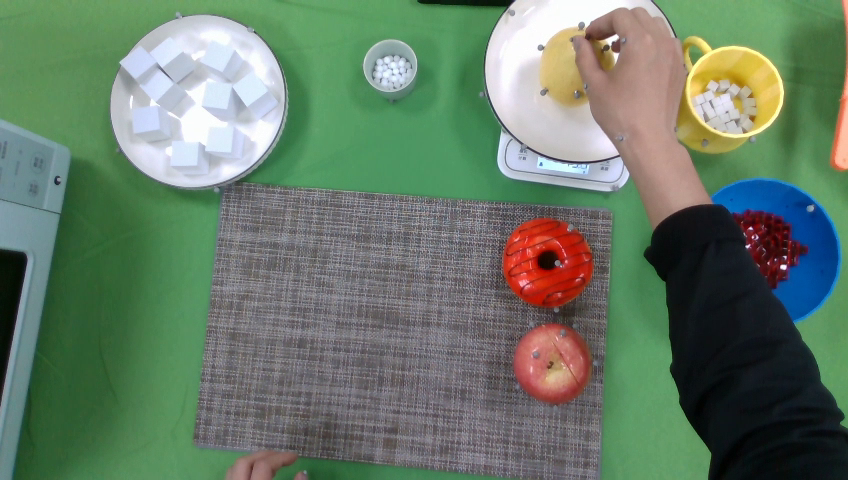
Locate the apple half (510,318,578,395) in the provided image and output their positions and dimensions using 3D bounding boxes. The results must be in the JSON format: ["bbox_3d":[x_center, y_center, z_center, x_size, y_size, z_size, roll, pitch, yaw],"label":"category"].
[{"bbox_3d":[0.119,0.127,0.635,0.053,0.075,0.080,-32,86,4],"label":"apple half"}]

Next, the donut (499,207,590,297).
[{"bbox_3d":[0.130,0.013,0.660,0.099,0.048,0.099,-1,85,6],"label":"donut"}]

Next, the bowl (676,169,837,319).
[{"bbox_3d":[0.332,0.007,0.635,0.151,0.077,0.151,0,86,4],"label":"bowl"}]

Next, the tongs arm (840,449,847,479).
[{"bbox_3d":[0.425,0.282,0.631,0.028,0.028,0.387,19,87,-3],"label":"tongs arm"}]

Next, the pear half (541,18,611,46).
[{"bbox_3d":[0.155,-0.210,0.621,0.070,0.088,0.031,-1,83,7],"label":"pear half"}]

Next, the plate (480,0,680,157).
[{"bbox_3d":[0.164,-0.189,0.653,0.209,0.038,0.208,0,85,3],"label":"plate"}]

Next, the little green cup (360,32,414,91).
[{"bbox_3d":[-0.040,-0.202,0.696,0.061,0.039,0.061,0,84,4],"label":"little green cup"}]

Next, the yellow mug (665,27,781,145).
[{"bbox_3d":[0.313,-0.173,0.658,0.100,0.064,0.130,-28,83,1],"label":"yellow mug"}]

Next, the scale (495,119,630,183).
[{"bbox_3d":[0.165,-0.171,0.684,0.148,0.031,0.200,9,86,4],"label":"scale"}]

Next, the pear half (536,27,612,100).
[{"bbox_3d":[0.151,-0.176,0.608,0.076,0.110,0.056,0,83,7],"label":"pear half"}]

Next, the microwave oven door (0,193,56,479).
[{"bbox_3d":[-0.471,0.120,0.571,0.039,0.244,0.355,7,85,5],"label":"microwave oven door"}]

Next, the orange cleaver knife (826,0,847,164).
[{"bbox_3d":[0.452,-0.179,0.614,0.077,0.012,0.211,9,86,7],"label":"orange cleaver knife"}]

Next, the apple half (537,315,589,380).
[{"bbox_3d":[0.151,0.105,0.634,0.033,0.081,0.081,-33,83,4],"label":"apple half"}]

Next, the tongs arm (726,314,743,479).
[{"bbox_3d":[0.340,0.268,0.633,0.051,0.026,0.384,5,86,-1],"label":"tongs arm"}]

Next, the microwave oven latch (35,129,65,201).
[{"bbox_3d":[-0.434,-0.086,0.690,0.030,0.029,0.079,9,86,4],"label":"microwave oven latch"}]

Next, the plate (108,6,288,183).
[{"bbox_3d":[-0.258,-0.166,0.706,0.207,0.039,0.207,0,85,3],"label":"plate"}]

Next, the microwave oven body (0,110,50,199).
[{"bbox_3d":[-0.610,0.061,0.590,0.326,0.261,0.440,7,86,4],"label":"microwave oven body"}]
